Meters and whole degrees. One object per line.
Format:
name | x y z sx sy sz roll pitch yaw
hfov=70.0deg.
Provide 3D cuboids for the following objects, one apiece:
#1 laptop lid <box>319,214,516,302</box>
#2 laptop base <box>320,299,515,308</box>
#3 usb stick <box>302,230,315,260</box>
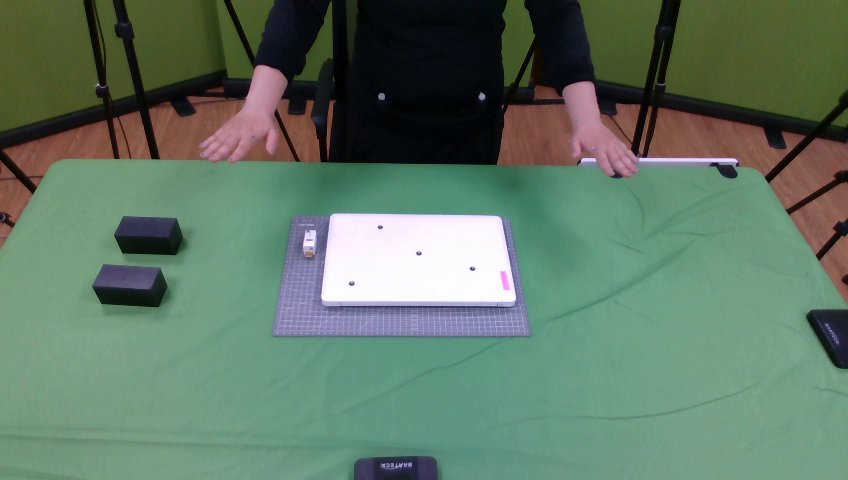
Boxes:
laptop lid | -0.013 0.029 1.154 0.357 0.013 0.240 2 43 -3
laptop base | -0.013 0.039 1.160 0.355 0.023 0.234 0 43 -4
usb stick | -0.223 0.011 1.163 0.021 0.027 0.059 3 49 -5
